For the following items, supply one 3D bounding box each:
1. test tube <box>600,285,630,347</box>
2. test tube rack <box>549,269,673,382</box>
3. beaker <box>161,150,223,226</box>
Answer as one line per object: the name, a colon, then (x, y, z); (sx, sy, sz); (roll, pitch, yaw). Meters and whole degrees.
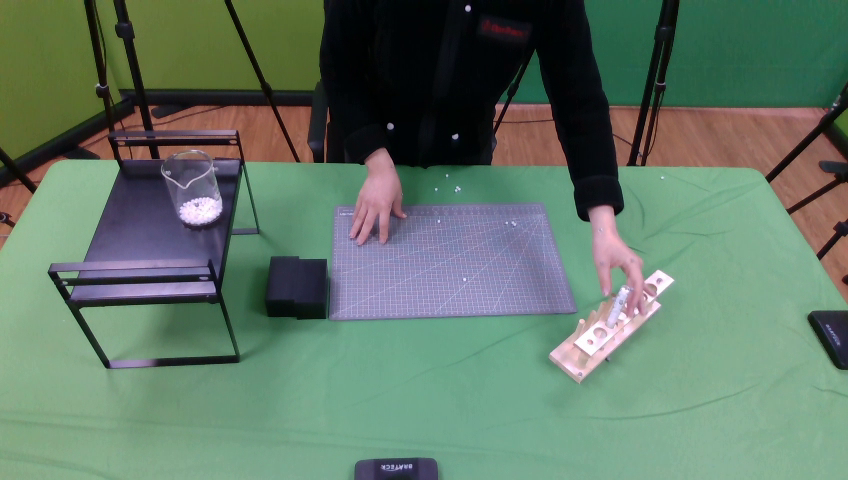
test tube: (0.306, 0.127, 0.984); (0.017, 0.151, 0.017); (2, 44, -2)
test tube rack: (0.325, 0.134, 1.047); (0.242, 0.085, 0.066); (-32, 56, -30)
beaker: (-0.357, -0.076, 0.942); (0.074, 0.101, 0.083); (-4, 47, -8)
